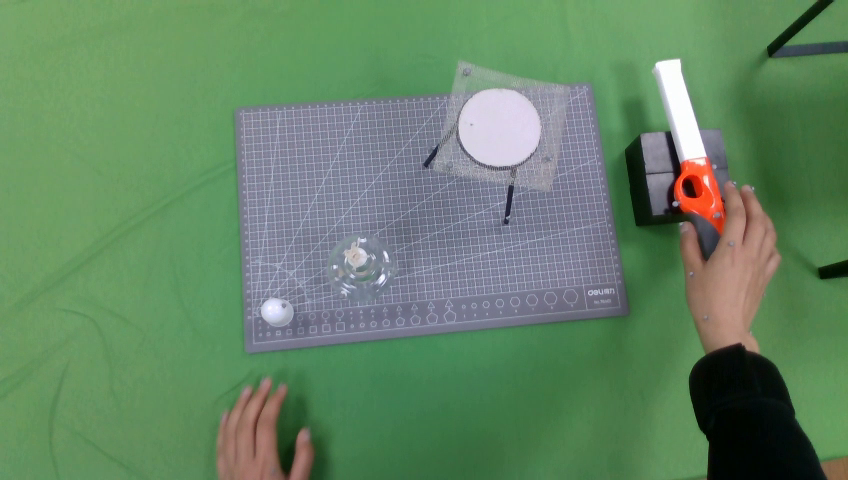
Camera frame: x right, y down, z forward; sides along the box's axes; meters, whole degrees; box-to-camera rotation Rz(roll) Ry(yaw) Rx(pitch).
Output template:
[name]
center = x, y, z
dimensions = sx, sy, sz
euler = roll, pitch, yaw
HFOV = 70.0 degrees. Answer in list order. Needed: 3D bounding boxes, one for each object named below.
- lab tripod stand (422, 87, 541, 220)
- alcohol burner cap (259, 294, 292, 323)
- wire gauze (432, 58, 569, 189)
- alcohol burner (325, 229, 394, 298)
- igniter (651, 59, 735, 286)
[lab tripod stand]
center = 0.074, -0.107, 0.684
dimensions = 0.148, 0.132, 0.147
euler = 1, 76, -3
[alcohol burner cap]
center = -0.169, 0.075, 0.679
dimensions = 0.034, 0.048, 0.033
euler = 1, 78, -4
[wire gauze]
center = 0.080, -0.119, 0.618
dimensions = 0.121, 0.011, 0.124
euler = 13, 77, -1
[alcohol burner]
center = -0.071, 0.023, 0.659
dimensions = 0.078, 0.119, 0.077
euler = 1, 80, -3
[igniter]
center = 0.311, -0.083, 0.703
dimensions = 0.057, 0.025, 0.275
euler = -8, 77, -3
